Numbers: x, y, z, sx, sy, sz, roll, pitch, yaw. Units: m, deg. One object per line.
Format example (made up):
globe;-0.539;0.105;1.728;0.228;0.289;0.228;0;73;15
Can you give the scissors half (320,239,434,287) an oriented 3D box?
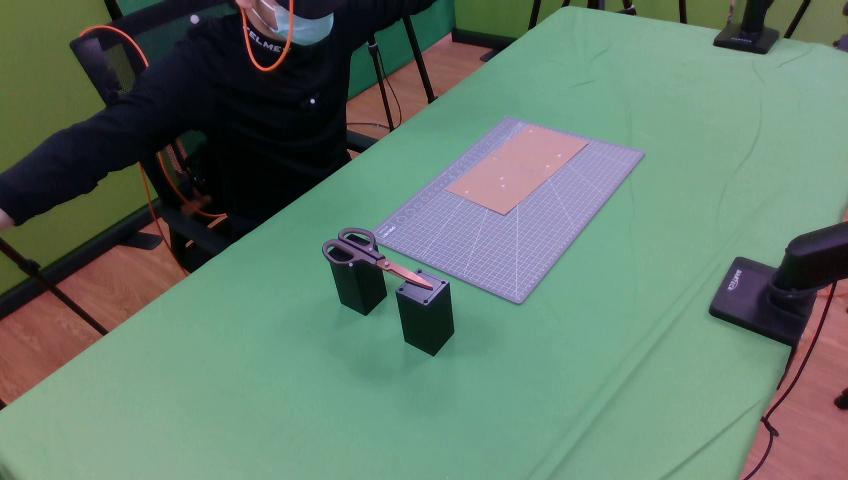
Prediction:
scissors half;-0.064;0.033;0.790;0.174;0.013;0.040;17;40;22

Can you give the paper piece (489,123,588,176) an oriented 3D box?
paper piece;0.218;-0.176;1.150;0.135;0.009;0.138;31;52;31

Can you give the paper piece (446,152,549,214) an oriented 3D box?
paper piece;0.130;-0.105;1.078;0.134;0.004;0.136;28;52;33

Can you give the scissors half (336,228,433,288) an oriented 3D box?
scissors half;-0.052;0.023;0.803;0.173;0.013;0.040;31;52;34
